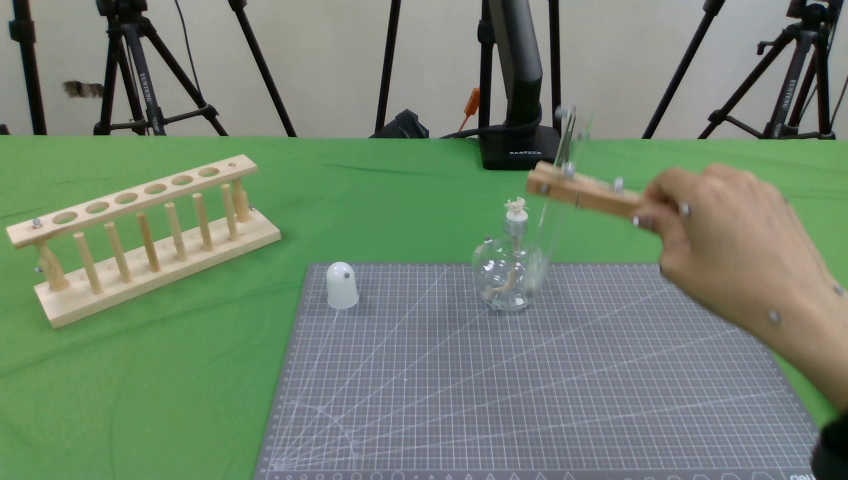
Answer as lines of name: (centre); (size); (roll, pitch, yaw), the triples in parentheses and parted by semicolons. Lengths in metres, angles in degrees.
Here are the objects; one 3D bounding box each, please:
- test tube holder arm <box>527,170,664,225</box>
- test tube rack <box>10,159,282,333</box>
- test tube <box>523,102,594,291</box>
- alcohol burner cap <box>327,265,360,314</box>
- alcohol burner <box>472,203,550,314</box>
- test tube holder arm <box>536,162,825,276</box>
test tube holder arm: (0.110, -0.028, 0.394); (0.087, 0.015, 0.010); (17, 41, 19)
test tube rack: (-0.280, -0.002, 0.641); (0.243, 0.086, 0.066); (-25, 42, -31)
test tube: (0.090, -0.023, 0.417); (0.017, 0.151, 0.017); (5, 37, -3)
alcohol burner cap: (-0.081, 0.047, 0.607); (0.034, 0.048, 0.033); (1, 36, 0)
alcohol burner: (0.087, 0.013, 0.593); (0.078, 0.120, 0.077); (1, 37, 0)
test tube holder arm: (0.152, -0.017, 0.381); (0.177, 0.015, 0.013); (22, 43, 24)
